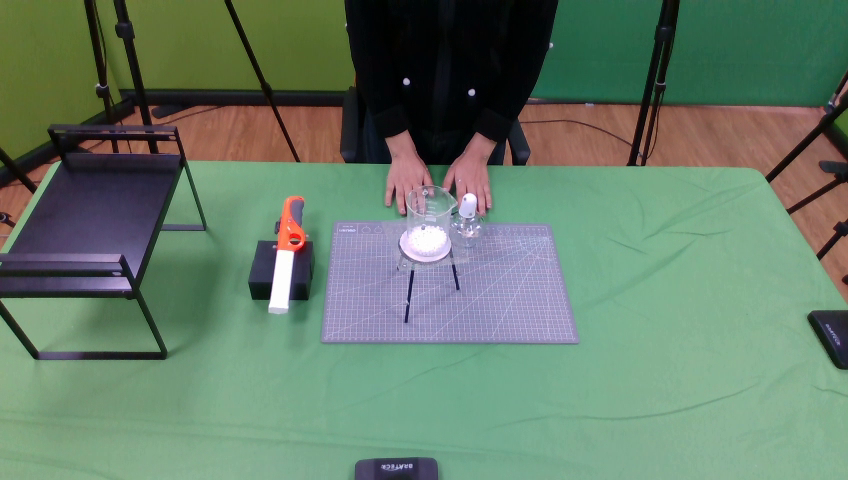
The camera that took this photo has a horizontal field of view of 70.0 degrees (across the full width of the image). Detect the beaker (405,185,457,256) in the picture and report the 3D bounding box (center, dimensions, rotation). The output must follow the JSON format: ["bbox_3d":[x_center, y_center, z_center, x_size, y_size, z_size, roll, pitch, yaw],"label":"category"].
[{"bbox_3d":[0.009,-0.029,0.987,0.084,0.101,0.073,-1,47,-5],"label":"beaker"}]

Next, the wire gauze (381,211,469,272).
[{"bbox_3d":[0.000,0.001,1.024,0.125,0.011,0.120,-11,48,-12],"label":"wire gauze"}]

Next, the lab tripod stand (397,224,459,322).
[{"bbox_3d":[-0.003,0.052,1.067,0.148,0.132,0.147,3,48,-3],"label":"lab tripod stand"}]

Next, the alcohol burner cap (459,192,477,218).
[{"bbox_3d":[0.085,-0.068,1.153,0.034,0.048,0.033,3,45,-3],"label":"alcohol burner cap"}]

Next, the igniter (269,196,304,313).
[{"bbox_3d":[-0.249,0.016,1.095,0.057,0.025,0.274,8,46,-13],"label":"igniter"}]

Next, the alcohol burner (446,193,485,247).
[{"bbox_3d":[0.082,-0.044,1.180,0.078,0.120,0.077,2,44,-2],"label":"alcohol burner"}]
